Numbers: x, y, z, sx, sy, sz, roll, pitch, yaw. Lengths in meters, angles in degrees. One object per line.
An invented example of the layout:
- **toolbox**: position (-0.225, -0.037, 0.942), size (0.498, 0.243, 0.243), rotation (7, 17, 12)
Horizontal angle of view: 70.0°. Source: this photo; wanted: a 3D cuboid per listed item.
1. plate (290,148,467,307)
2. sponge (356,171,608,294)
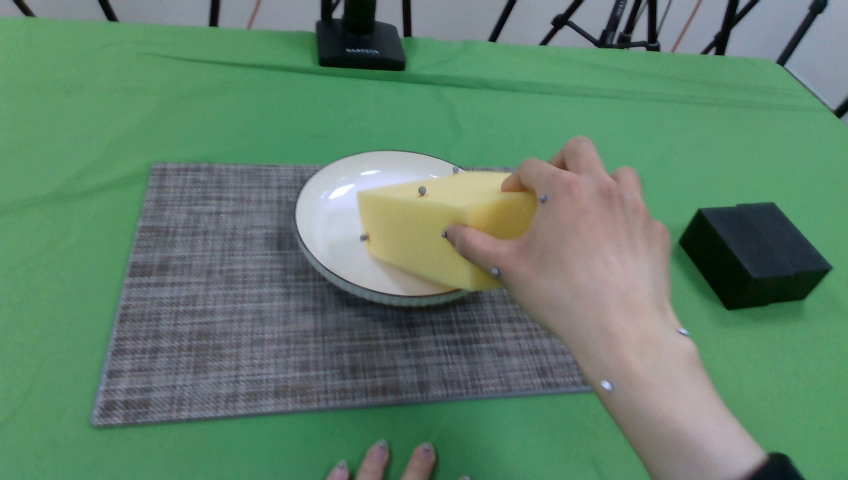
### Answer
- **plate**: position (-0.023, -0.012, 0.588), size (0.208, 0.039, 0.205), rotation (6, 44, -6)
- **sponge**: position (0.035, -0.017, 0.498), size (0.118, 0.061, 0.205), rotation (-12, 12, -24)
